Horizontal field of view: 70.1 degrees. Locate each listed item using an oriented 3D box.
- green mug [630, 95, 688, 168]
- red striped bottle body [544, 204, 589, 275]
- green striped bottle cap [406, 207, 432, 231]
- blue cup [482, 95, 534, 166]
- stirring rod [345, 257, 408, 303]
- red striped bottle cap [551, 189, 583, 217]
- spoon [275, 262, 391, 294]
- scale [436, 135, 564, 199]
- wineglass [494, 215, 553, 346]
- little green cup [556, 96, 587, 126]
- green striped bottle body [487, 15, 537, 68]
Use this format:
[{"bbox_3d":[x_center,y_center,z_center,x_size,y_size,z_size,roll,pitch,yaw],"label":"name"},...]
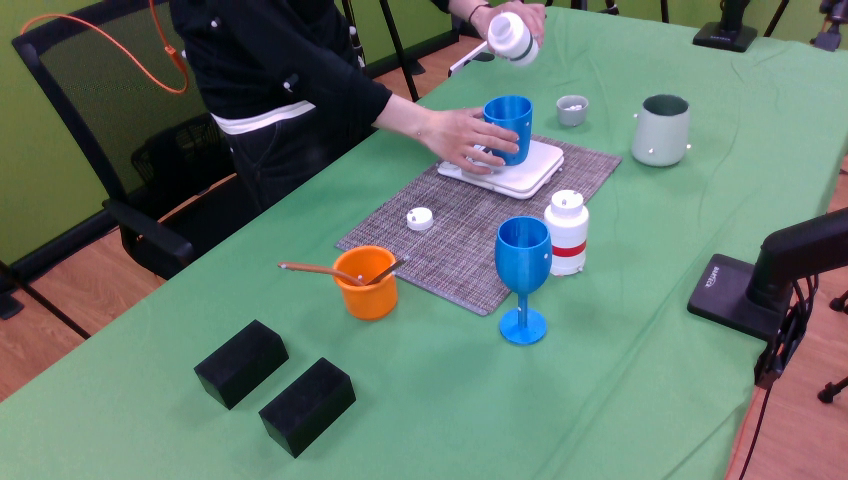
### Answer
[{"bbox_3d":[0.421,-0.201,1.081,0.092,0.105,0.125,5,42,15],"label":"green mug"},{"bbox_3d":[0.206,-0.011,0.877,0.063,0.120,0.062,-5,41,5],"label":"red striped bottle body"},{"bbox_3d":[-0.008,-0.035,1.011,0.044,0.020,0.044,-2,42,2],"label":"green striped bottle cap"},{"bbox_3d":[0.148,-0.187,1.052,0.092,0.101,0.092,-7,41,7],"label":"blue cup"},{"bbox_3d":[-0.067,0.056,0.814,0.014,0.175,0.006,-23,81,-38],"label":"stirring rod"},{"bbox_3d":[0.200,-0.052,0.843,0.044,0.018,0.044,-2,42,3],"label":"red striped bottle cap"},{"bbox_3d":[-0.120,0.050,0.830,0.041,0.195,0.021,31,96,45],"label":"spoon"},{"bbox_3d":[0.137,-0.142,1.101,0.199,0.032,0.149,22,48,30],"label":"scale"},{"bbox_3d":[0.127,0.055,0.770,0.074,0.173,0.073,-4,40,4],"label":"wineglass"},{"bbox_3d":[0.295,-0.258,1.214,0.061,0.039,0.061,-4,42,4],"label":"little green cup"},{"bbox_3d":[0.149,-0.340,1.031,0.063,0.063,0.120,15,6,25],"label":"green striped bottle body"}]
